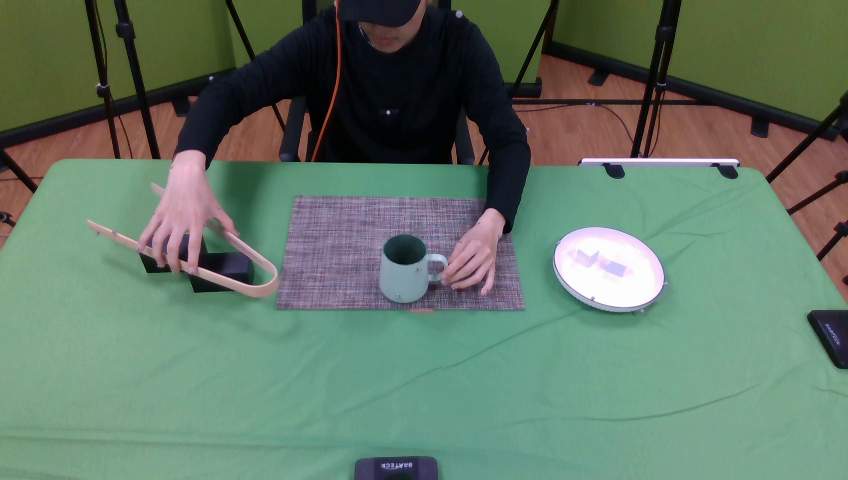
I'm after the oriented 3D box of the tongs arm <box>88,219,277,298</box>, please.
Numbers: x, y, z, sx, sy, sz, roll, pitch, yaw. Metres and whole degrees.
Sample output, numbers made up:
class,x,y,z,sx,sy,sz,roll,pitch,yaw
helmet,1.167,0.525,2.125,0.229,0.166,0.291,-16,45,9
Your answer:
class,x,y,z,sx,sy,sz,roll,pitch,yaw
tongs arm,-0.433,0.024,1.070,0.384,0.026,0.050,22,45,17

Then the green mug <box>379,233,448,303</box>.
class,x,y,z,sx,sy,sz,roll,pitch,yaw
green mug,-0.019,0.050,1.084,0.125,0.105,0.092,0,46,-4

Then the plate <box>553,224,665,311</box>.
class,x,y,z,sx,sy,sz,roll,pitch,yaw
plate,0.349,0.055,1.159,0.209,0.038,0.208,2,47,-2

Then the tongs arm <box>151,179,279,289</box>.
class,x,y,z,sx,sy,sz,roll,pitch,yaw
tongs arm,-0.392,-0.021,1.118,0.386,0.028,0.028,32,46,25
